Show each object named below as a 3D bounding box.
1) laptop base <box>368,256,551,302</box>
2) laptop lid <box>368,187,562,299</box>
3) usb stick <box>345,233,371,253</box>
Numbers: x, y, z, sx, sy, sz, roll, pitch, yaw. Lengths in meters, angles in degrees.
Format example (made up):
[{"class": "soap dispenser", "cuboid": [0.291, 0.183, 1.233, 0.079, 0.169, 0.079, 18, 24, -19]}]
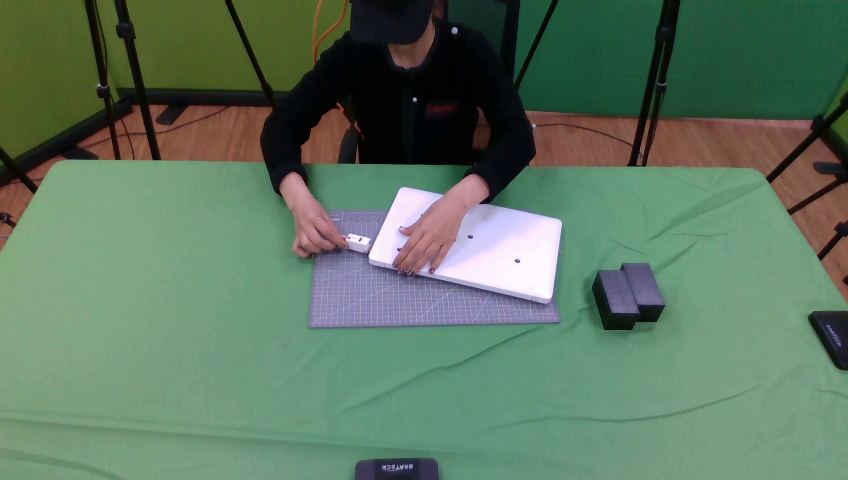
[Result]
[{"class": "laptop base", "cuboid": [0.089, 0.005, 1.205, 0.354, 0.023, 0.234, 12, 42, 8]}, {"class": "laptop lid", "cuboid": [0.090, -0.005, 1.198, 0.356, 0.013, 0.240, 14, 43, 9]}, {"class": "usb stick", "cuboid": [-0.121, 0.007, 1.168, 0.059, 0.027, 0.021, 18, 47, 10]}]
